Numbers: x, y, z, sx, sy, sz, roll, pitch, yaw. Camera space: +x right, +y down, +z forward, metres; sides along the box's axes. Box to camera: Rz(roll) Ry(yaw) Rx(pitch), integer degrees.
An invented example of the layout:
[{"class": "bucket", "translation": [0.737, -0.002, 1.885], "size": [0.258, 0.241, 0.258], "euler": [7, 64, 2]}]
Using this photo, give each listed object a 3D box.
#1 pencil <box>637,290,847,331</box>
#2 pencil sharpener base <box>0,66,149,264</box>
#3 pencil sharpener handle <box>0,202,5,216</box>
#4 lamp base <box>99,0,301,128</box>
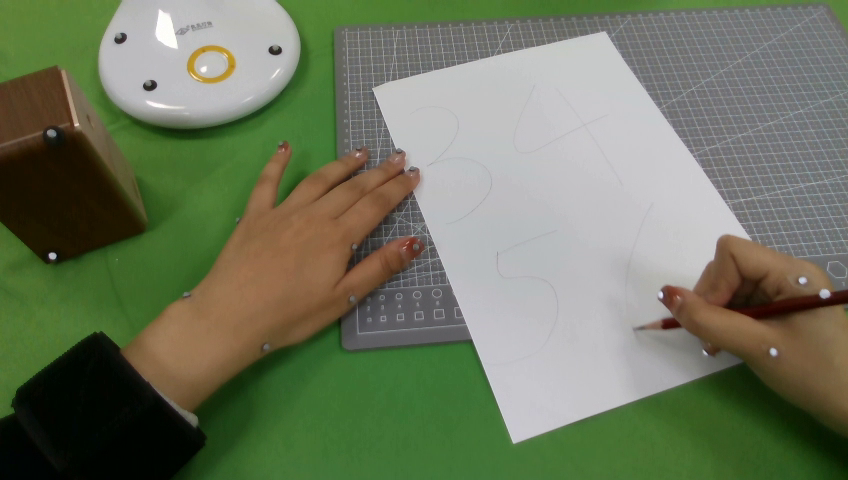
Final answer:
[{"class": "pencil", "translation": [0.202, 0.034, 0.320], "size": [0.012, 0.193, 0.012], "euler": [17, 65, -40]}, {"class": "pencil sharpener base", "translation": [-0.235, -0.042, 0.382], "size": [0.077, 0.108, 0.061], "euler": [-23, 62, -13]}, {"class": "pencil sharpener handle", "translation": [-0.281, -0.030, 0.360], "size": [0.031, 0.068, 0.035], "euler": [-23, 64, -13]}, {"class": "lamp base", "translation": [-0.189, -0.202, 0.437], "size": [0.160, 0.182, 0.177], "euler": [-32, 62, -19]}]
